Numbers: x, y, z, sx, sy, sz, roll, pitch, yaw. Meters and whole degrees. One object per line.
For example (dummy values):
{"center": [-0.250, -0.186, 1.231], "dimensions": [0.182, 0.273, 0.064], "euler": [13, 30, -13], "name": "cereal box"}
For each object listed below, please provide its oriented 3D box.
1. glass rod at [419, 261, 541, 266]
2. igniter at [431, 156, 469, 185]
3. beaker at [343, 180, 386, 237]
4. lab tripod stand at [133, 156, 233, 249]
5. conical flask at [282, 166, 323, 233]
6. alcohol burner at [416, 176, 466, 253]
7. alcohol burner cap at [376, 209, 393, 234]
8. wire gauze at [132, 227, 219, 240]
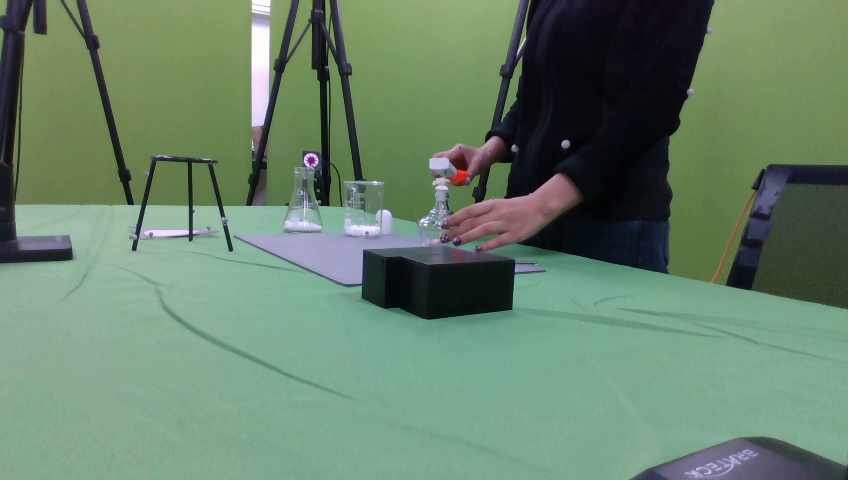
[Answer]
{"center": [0.080, 0.031, 0.807], "dimensions": [0.201, 0.008, 0.008], "euler": [1, 6, -32], "name": "glass rod"}
{"center": [0.049, -0.122, 1.087], "dimensions": [0.057, 0.025, 0.277], "euler": [0, 0, 10], "name": "igniter"}
{"center": [-0.111, -0.058, 1.090], "dimensions": [0.083, 0.100, 0.074], "euler": [7, 8, 33], "name": "beaker"}
{"center": [-0.342, -0.054, 0.878], "dimensions": [0.148, 0.131, 0.148], "euler": [4, 6, 0], "name": "lab tripod stand"}
{"center": [-0.225, -0.076, 1.129], "dimensions": [0.075, 0.122, 0.075], "euler": [2, 8, 0], "name": "conical flask"}
{"center": [0.027, -0.040, 0.934], "dimensions": [0.078, 0.119, 0.078], "euler": [3, 9, 0], "name": "alcohol burner"}
{"center": [-0.075, -0.036, 1.150], "dimensions": [0.034, 0.048, 0.034], "euler": [2, 7, 0], "name": "alcohol burner cap"}
{"center": [-0.421, -0.014, 1.024], "dimensions": [0.122, 0.011, 0.124], "euler": [-2, 7, -34], "name": "wire gauze"}
